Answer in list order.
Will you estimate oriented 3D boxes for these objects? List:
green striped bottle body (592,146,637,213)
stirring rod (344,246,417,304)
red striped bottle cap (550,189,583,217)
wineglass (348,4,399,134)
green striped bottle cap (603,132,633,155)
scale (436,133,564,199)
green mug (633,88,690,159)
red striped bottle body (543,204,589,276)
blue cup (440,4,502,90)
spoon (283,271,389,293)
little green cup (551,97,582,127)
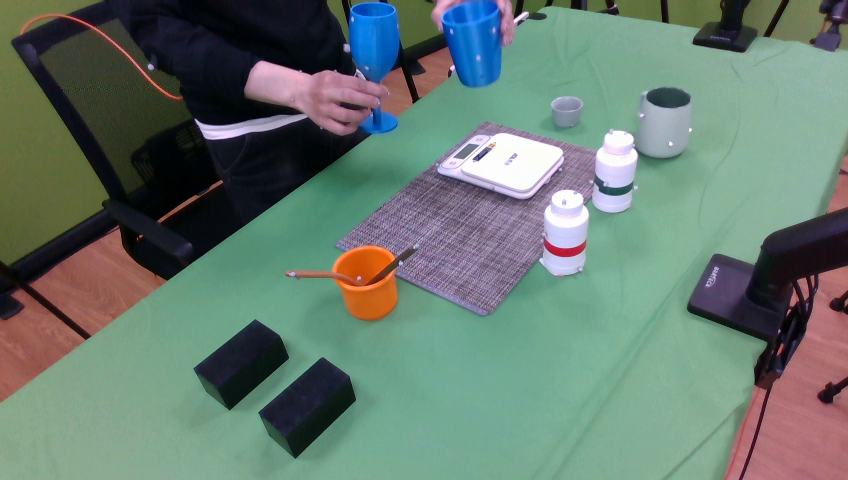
[{"bbox_3d":[0.307,-0.108,0.976,0.063,0.120,0.063,-4,41,4],"label":"green striped bottle body"},{"bbox_3d":[-0.062,0.050,0.819,0.014,0.175,0.006,-2,64,-41],"label":"stirring rod"},{"bbox_3d":[0.199,-0.052,0.843,0.044,0.018,0.044,-1,42,2],"label":"red striped bottle cap"},{"bbox_3d":[-0.073,-0.247,0.882,0.074,0.173,0.073,1,39,-1],"label":"wineglass"},{"bbox_3d":[0.301,-0.149,0.938,0.044,0.020,0.044,-3,39,3],"label":"green striped bottle cap"},{"bbox_3d":[0.137,-0.142,1.101,0.199,0.032,0.149,22,48,30],"label":"scale"},{"bbox_3d":[0.423,-0.217,1.099,0.093,0.105,0.124,-16,41,-9],"label":"green mug"},{"bbox_3d":[0.205,-0.011,0.878,0.063,0.120,0.062,-5,41,4],"label":"red striped bottle body"},{"bbox_3d":[0.074,-0.277,0.880,0.092,0.101,0.092,-9,39,8],"label":"blue cup"},{"bbox_3d":[-0.117,0.054,0.825,0.041,0.195,0.021,16,89,37],"label":"spoon"},{"bbox_3d":[0.284,-0.255,1.213,0.061,0.039,0.061,-4,41,4],"label":"little green cup"}]
